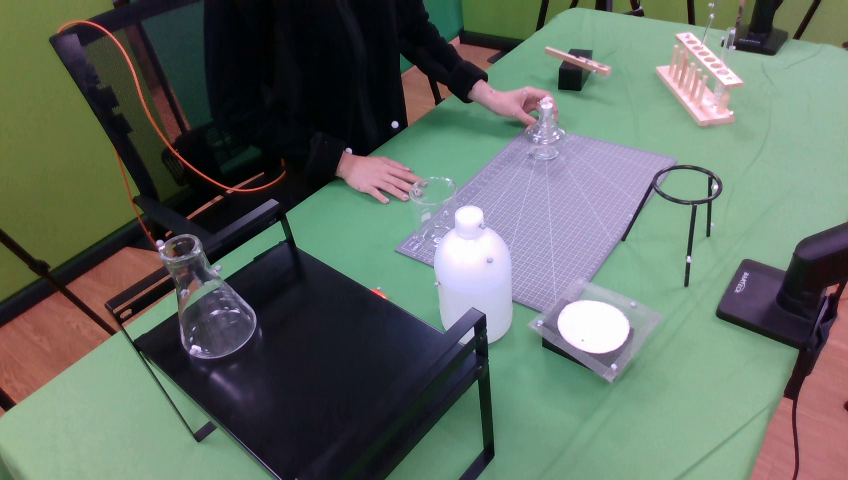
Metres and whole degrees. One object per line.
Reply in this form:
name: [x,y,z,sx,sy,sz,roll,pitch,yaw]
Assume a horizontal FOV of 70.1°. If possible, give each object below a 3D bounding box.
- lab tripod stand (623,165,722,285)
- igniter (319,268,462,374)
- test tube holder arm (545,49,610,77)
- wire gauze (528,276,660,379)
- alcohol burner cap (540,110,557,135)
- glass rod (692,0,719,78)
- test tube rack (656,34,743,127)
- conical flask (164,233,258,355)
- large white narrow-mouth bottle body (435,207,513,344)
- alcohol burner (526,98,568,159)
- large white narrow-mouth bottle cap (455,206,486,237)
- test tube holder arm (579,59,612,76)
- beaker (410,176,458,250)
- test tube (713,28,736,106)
lab tripod stand: [0.365,-0.030,0.875,0.148,0.132,0.147,-6,41,6]
igniter: [-0.059,0.107,0.862,0.274,0.025,0.057,28,62,34]
test tube holder arm: [0.330,-0.387,1.314,0.013,0.015,0.177,-25,43,-31]
wire gauze: [0.213,0.103,0.763,0.124,0.011,0.122,30,52,35]
alcohol burner cap: [0.245,-0.235,1.193,0.034,0.048,0.033,-6,49,8]
glass rod: [0.561,-0.401,1.214,0.008,0.200,0.008,-1,48,2]
test tube rack: [0.553,-0.331,1.233,0.067,0.085,0.241,-7,40,2]
conical flask: [-0.217,0.051,0.601,0.075,0.122,0.075,-4,40,4]
large white narrow-mouth bottle body: [0.065,0.041,0.791,0.102,0.195,0.101,-4,41,4]
alcohol burner: [0.228,-0.210,1.118,0.078,0.119,0.077,-5,43,5]
large white narrow-mouth bottle cap: [0.057,-0.023,0.734,0.038,0.024,0.037,-4,40,4]
test tube holder arm: [0.363,-0.368,1.289,0.010,0.015,0.087,-26,43,-31]
beaker: [0.022,-0.041,0.964,0.073,0.101,0.084,28,51,35]
test tube: [0.570,-0.325,1.149,0.017,0.151,0.017,-4,36,4]
